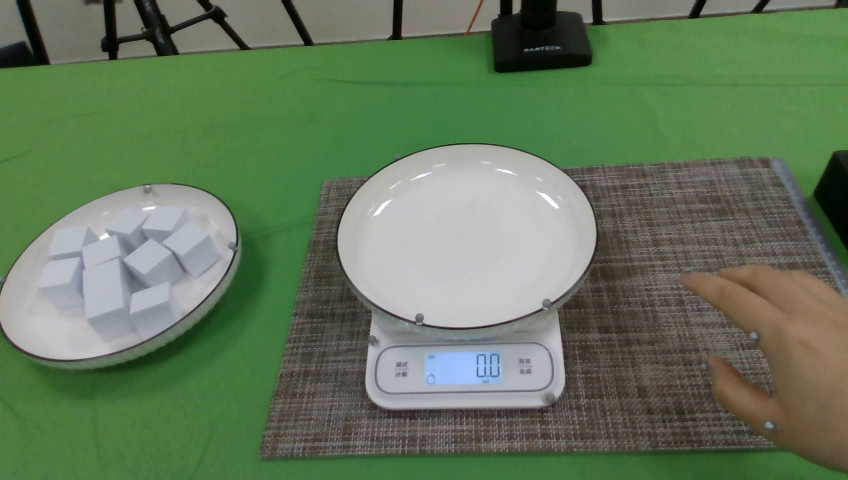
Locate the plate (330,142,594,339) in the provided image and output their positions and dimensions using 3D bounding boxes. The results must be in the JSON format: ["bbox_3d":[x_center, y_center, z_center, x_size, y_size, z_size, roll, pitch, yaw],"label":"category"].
[{"bbox_3d":[0.030,-0.001,0.494,0.207,0.039,0.205,-3,47,3],"label":"plate"}]

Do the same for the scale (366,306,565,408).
[{"bbox_3d":[0.033,0.042,0.498,0.148,0.032,0.199,-2,47,6],"label":"scale"}]

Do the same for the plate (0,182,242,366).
[{"bbox_3d":[-0.266,0.029,0.548,0.209,0.038,0.207,-3,46,4],"label":"plate"}]
